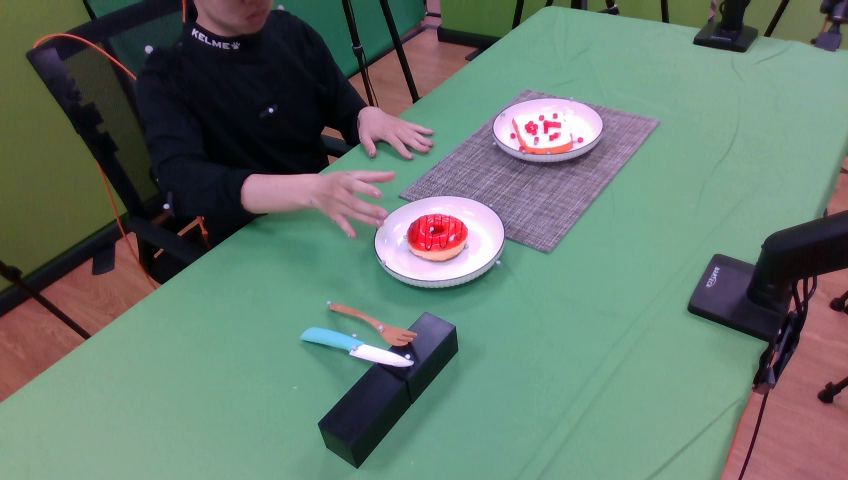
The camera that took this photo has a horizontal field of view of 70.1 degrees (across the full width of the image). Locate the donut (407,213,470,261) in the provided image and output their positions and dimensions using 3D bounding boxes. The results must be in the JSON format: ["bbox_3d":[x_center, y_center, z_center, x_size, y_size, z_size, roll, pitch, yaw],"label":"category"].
[{"bbox_3d":[0.022,-0.006,0.944,0.099,0.048,0.098,-4,38,3],"label":"donut"}]

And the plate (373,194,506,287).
[{"bbox_3d":[0.024,0.003,0.951,0.207,0.039,0.206,-4,41,4],"label":"plate"}]

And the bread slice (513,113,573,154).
[{"bbox_3d":[0.233,-0.205,1.160,0.105,0.019,0.131,-7,40,1],"label":"bread slice"}]

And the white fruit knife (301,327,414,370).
[{"bbox_3d":[-0.088,0.140,0.781,0.205,0.016,0.027,7,42,42],"label":"white fruit knife"}]

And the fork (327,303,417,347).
[{"bbox_3d":[-0.077,0.110,0.811,0.028,0.019,0.205,-42,34,-26],"label":"fork"}]

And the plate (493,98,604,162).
[{"bbox_3d":[0.237,-0.206,1.158,0.209,0.038,0.208,-4,40,4],"label":"plate"}]
